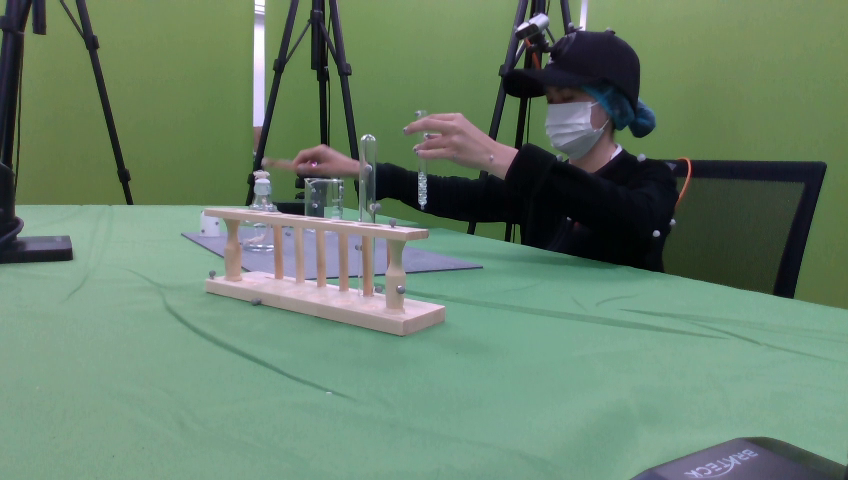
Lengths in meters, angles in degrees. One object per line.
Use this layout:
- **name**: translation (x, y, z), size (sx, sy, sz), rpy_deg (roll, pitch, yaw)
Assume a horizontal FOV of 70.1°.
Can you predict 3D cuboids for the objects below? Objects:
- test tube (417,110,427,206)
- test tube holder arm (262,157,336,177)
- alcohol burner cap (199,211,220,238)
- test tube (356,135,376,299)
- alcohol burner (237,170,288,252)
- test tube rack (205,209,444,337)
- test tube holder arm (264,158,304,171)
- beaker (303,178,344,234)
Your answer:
- **test tube**: translation (-0.003, -0.128, 0.952), size (0.017, 0.150, 0.017), rpy_deg (0, 14, 0)
- **test tube holder arm**: translation (-0.255, -0.151, 1.257), size (0.013, 0.015, 0.179), rpy_deg (26, 13, 39)
- **alcohol burner cap**: translation (-0.356, -0.027, 1.002), size (0.034, 0.048, 0.034), rpy_deg (2, 7, 0)
- **test tube**: translation (-0.053, -0.019, 0.550), size (0.017, 0.150, 0.017), rpy_deg (2, 9, 0)
- **alcohol burner**: translation (-0.236, -0.042, 0.882), size (0.078, 0.119, 0.078), rpy_deg (2, 9, 0)
- **test tube rack**: translation (-0.100, 0.021, 0.565), size (0.241, 0.085, 0.067), rpy_deg (7, 9, 32)
- **test tube holder arm**: translation (-0.281, -0.152, 1.219), size (0.010, 0.015, 0.088), rpy_deg (26, 13, 39)
- **beaker**: translation (-0.189, -0.063, 1.119), size (0.073, 0.100, 0.084), rpy_deg (7, 9, 28)
